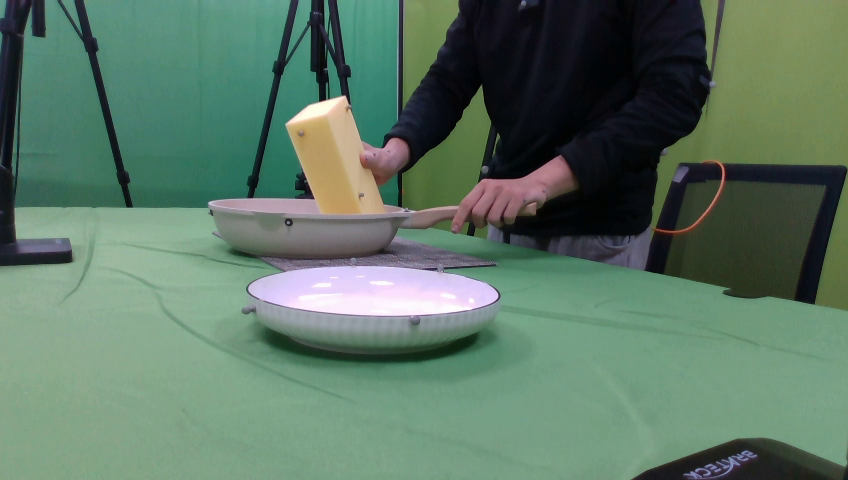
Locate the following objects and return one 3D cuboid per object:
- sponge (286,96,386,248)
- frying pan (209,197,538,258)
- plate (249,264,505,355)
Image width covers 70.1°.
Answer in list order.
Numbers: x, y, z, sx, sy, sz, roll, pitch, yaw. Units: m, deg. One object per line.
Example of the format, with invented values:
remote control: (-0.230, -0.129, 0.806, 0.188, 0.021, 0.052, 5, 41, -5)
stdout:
sponge: (-0.121, -0.094, 0.888, 0.061, 0.207, 0.118, -14, 24, 11)
frying pan: (-0.075, -0.034, 0.912, 0.487, 0.102, 0.307, -5, 7, 12)
plate: (-0.037, 0.056, 0.504, 0.208, 0.039, 0.207, 2, 7, 0)
